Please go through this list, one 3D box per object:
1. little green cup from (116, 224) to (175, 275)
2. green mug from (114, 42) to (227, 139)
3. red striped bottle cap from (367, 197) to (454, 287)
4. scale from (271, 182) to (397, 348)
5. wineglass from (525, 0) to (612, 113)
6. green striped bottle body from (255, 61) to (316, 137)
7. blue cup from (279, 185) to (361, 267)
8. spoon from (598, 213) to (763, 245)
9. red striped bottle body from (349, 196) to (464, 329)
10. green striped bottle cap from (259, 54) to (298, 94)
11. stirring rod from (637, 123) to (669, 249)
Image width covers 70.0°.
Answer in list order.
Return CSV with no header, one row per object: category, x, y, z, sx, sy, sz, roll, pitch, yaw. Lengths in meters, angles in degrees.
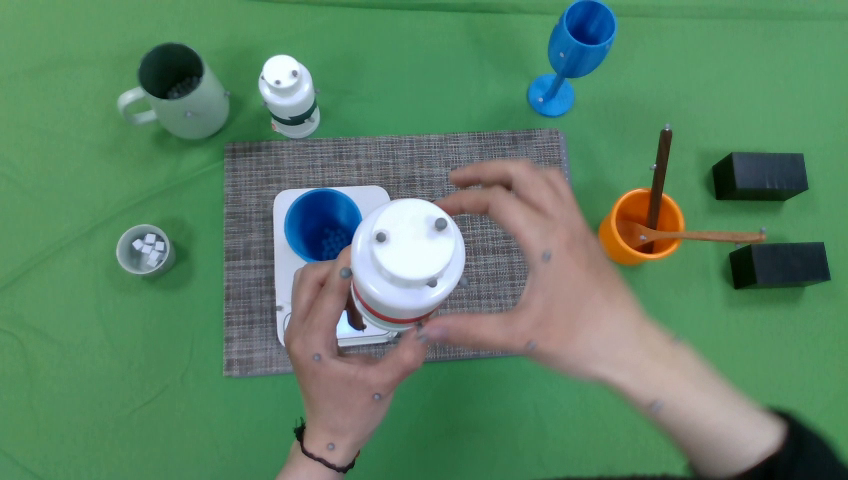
little green cup,-0.337,0.014,0.741,0.061,0.039,0.061,1,77,-5
green mug,-0.318,-0.178,0.754,0.125,0.105,0.092,-26,80,-9
red striped bottle cap,-0.007,0.000,0.307,0.044,0.018,0.044,2,72,-7
scale,-0.112,0.028,0.754,0.149,0.031,0.200,-5,78,-5
wineglass,0.177,-0.229,0.765,0.074,0.173,0.073,1,76,-3
green striped bottle body,-0.172,-0.181,0.757,0.063,0.119,0.063,1,76,-3
blue cup,-0.114,-0.008,0.695,0.093,0.100,0.092,1,79,-6
spoon,0.304,-0.011,0.736,0.022,0.192,0.041,17,80,-45
red striped bottle body,-0.013,0.015,0.358,0.063,0.120,0.062,2,74,-7
green striped bottle cap,-0.170,-0.194,0.706,0.044,0.020,0.044,1,75,-4
stirring rod,0.281,-0.061,0.747,0.014,0.178,0.006,2,36,9
